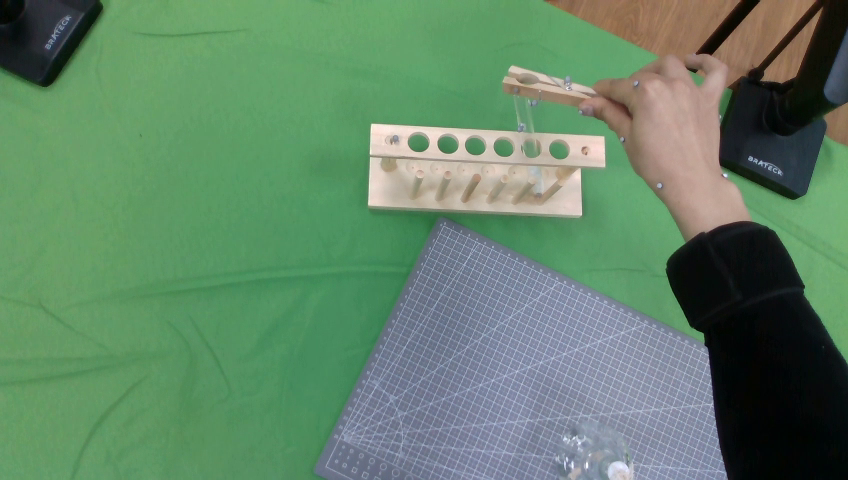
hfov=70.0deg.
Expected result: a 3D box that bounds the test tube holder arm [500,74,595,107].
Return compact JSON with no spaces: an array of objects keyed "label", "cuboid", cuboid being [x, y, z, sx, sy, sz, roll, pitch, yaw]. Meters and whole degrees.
[{"label":"test tube holder arm","cuboid":[0.111,-0.135,0.545,0.087,0.015,0.010,15,72,17]}]

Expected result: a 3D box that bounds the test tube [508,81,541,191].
[{"label":"test tube","cuboid":[0.104,-0.100,0.617,0.017,0.152,0.017,-9,53,12]}]

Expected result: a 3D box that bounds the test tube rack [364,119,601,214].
[{"label":"test tube rack","cuboid":[0.058,-0.075,0.651,0.243,0.085,0.066,2,78,-6]}]

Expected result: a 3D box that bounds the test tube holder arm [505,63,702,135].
[{"label":"test tube holder arm","cuboid":[0.153,-0.125,0.532,0.177,0.015,0.013,22,74,19]}]

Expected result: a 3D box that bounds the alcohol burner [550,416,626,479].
[{"label":"alcohol burner","cuboid":[0.165,0.213,0.588,0.078,0.119,0.077,1,80,-6]}]

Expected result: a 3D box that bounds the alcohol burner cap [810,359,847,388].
[{"label":"alcohol burner cap","cuboid":[0.459,0.148,0.673,0.034,0.048,0.033,1,77,-5]}]
